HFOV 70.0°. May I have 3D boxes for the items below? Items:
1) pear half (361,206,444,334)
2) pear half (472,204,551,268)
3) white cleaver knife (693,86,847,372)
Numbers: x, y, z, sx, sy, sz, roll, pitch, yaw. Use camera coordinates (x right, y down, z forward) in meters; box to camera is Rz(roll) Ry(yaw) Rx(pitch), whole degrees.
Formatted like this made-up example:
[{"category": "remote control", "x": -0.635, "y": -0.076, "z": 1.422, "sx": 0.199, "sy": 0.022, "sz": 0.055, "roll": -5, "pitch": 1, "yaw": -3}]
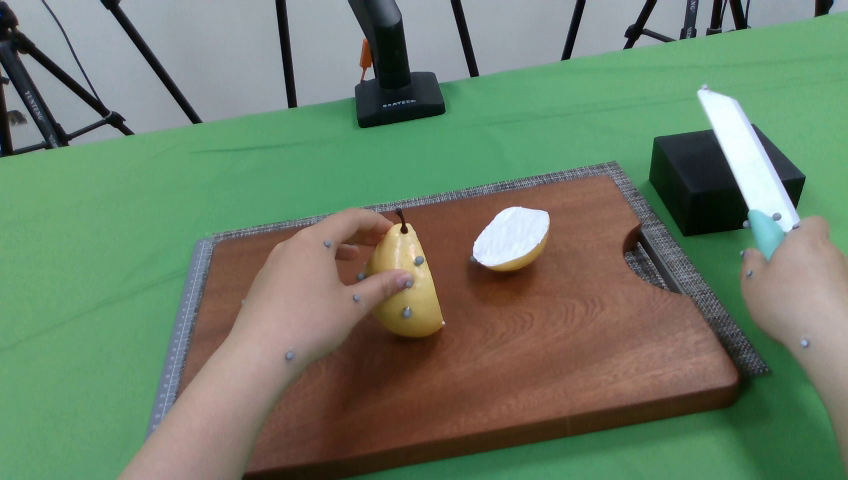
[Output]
[{"category": "pear half", "x": -0.022, "y": 0.022, "z": 0.454, "sx": 0.056, "sy": 0.111, "sz": 0.075, "roll": -19, "pitch": 37, "yaw": -11}, {"category": "pear half", "x": 0.078, "y": 0.000, "z": 0.521, "sx": 0.070, "sy": 0.031, "sz": 0.087, "roll": -16, "pitch": 24, "yaw": 16}, {"category": "white cleaver knife", "x": 0.282, "y": -0.029, "z": 0.490, "sx": 0.066, "sy": 0.021, "sz": 0.283, "roll": 9, "pitch": 54, "yaw": -16}]
